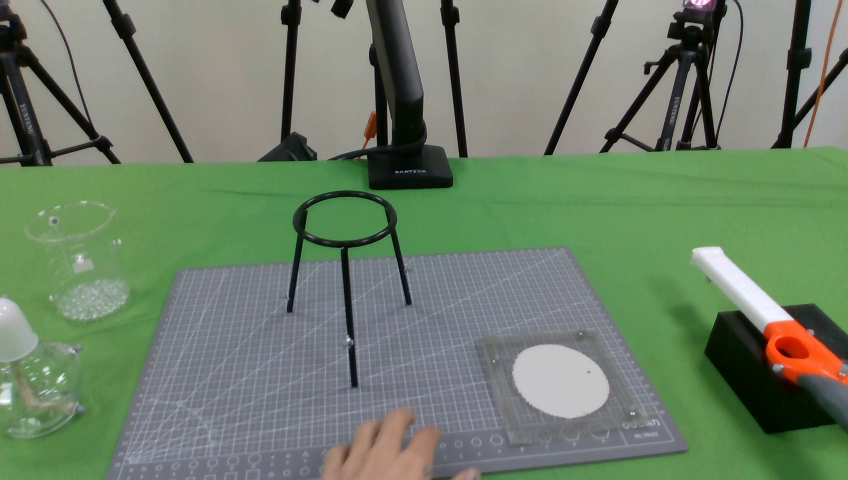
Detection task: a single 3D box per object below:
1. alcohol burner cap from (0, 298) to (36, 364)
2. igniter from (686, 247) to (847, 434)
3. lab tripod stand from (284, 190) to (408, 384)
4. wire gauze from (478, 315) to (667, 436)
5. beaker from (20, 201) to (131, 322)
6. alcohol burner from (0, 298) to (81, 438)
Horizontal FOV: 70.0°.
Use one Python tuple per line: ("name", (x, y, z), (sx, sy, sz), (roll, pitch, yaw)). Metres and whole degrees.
("alcohol burner cap", (-0.314, 0.065, 0.450), (0.034, 0.048, 0.033), (3, 37, -2))
("igniter", (0.306, 0.083, 0.518), (0.057, 0.025, 0.274), (-4, 30, -6))
("lab tripod stand", (-0.070, 0.034, 0.554), (0.148, 0.132, 0.147), (3, 34, -2))
("wire gauze", (0.128, 0.114, 0.530), (0.125, 0.011, 0.120), (-10, 32, -29))
("beaker", (-0.333, 0.022, 0.595), (0.073, 0.101, 0.084), (27, 40, 33))
("alcohol burner", (-0.314, 0.095, 0.469), (0.078, 0.120, 0.077), (3, 31, -1))
